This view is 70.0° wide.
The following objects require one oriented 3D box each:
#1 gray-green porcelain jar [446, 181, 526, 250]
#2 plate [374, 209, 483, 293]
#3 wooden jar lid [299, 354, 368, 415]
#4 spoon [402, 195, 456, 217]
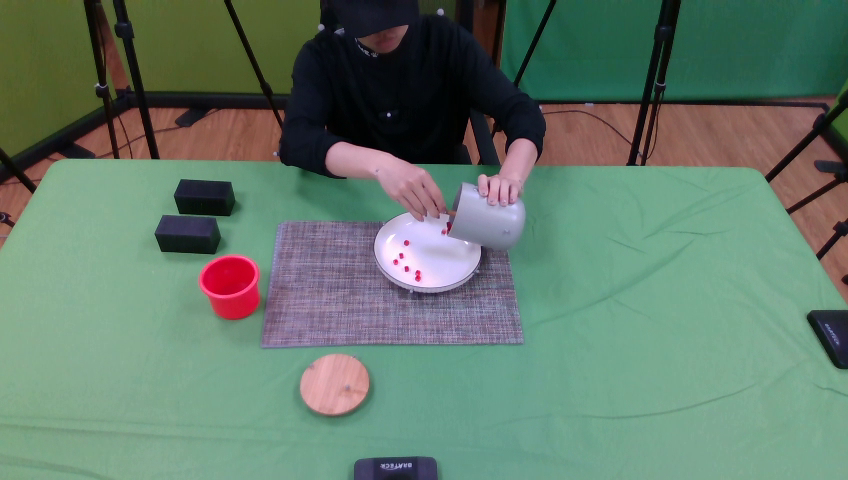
[{"bbox_3d":[0.116,-0.042,1.110,0.126,0.106,0.105,15,46,-5],"label":"gray-green porcelain jar"},{"bbox_3d":[0.008,0.024,1.158,0.208,0.039,0.206,2,46,-2],"label":"plate"},{"bbox_3d":[-0.143,0.232,0.964,0.108,0.021,0.107,2,45,-2],"label":"wooden jar lid"},{"bbox_3d":[0.053,-0.050,1.100,0.194,0.022,0.041,12,27,-6],"label":"spoon"}]
